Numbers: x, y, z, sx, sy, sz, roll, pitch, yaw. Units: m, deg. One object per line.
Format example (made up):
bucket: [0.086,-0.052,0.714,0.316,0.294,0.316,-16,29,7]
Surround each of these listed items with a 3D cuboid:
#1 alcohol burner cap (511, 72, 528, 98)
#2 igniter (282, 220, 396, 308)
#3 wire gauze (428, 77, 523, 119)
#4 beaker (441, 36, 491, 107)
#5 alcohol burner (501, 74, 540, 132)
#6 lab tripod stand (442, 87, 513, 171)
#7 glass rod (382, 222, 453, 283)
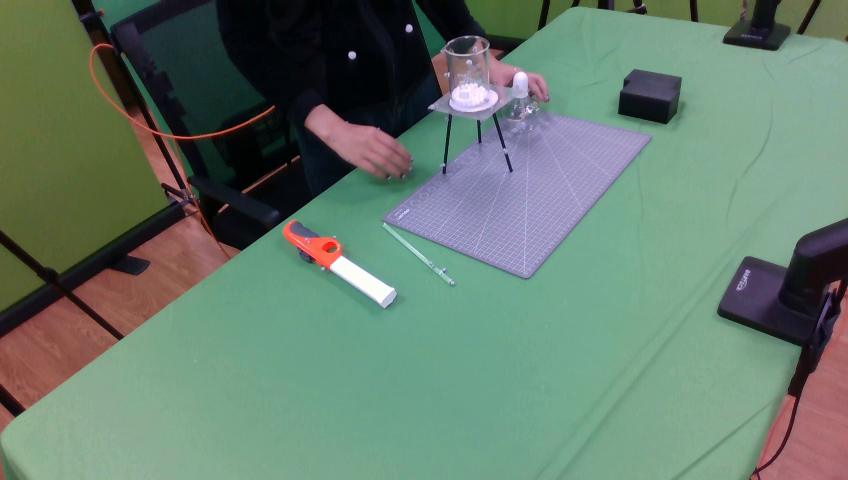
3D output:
alcohol burner cap: [0.185,-0.302,1.171,0.034,0.048,0.033,-2,42,2]
igniter: [-0.146,0.032,0.966,0.274,0.025,0.057,30,65,37]
wire gauze: [0.090,-0.249,1.063,0.120,0.011,0.125,24,48,30]
beaker: [0.074,-0.287,1.036,0.084,0.101,0.073,-1,41,8]
alcohol burner: [0.191,-0.275,1.194,0.078,0.119,0.077,-4,42,4]
lab tripod stand: [0.097,-0.201,1.108,0.148,0.132,0.147,-4,40,4]
glass rod: [-0.014,0.016,0.976,0.008,0.008,0.198,-30,44,-22]
